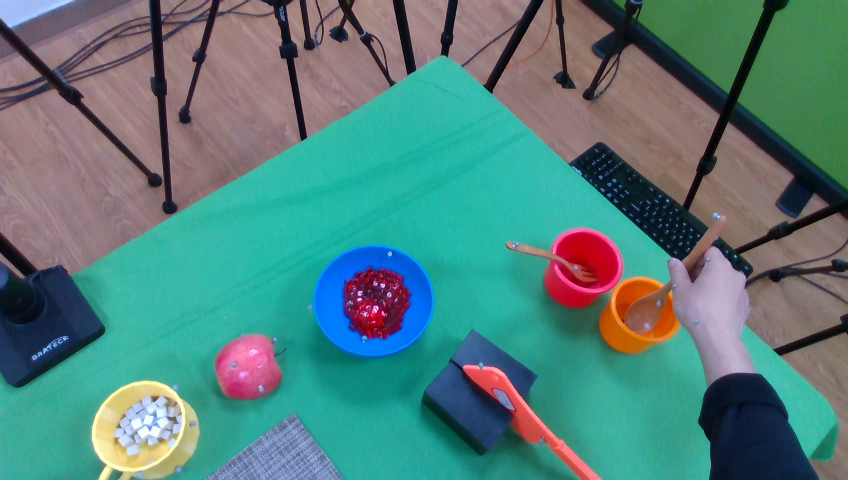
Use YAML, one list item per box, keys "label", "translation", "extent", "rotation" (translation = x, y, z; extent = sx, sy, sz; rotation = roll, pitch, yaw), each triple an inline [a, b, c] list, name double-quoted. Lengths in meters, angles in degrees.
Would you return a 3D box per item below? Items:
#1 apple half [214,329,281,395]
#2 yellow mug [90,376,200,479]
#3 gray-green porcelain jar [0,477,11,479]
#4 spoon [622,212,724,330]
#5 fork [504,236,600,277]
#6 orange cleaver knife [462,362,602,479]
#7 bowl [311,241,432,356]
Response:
- label: "apple half"
  translation: [-0.220, 0.147, 0.746]
  extent: [0.075, 0.054, 0.080]
  rotation: [-15, 65, -10]
- label: "yellow mug"
  translation: [-0.323, 0.225, 0.686]
  extent: [0.100, 0.064, 0.130]
  rotation: [25, 63, 8]
- label: "gray-green porcelain jar"
  translation: [-0.449, 0.291, 0.605]
  extent: [0.106, 0.127, 0.105]
  rotation: [3, 62, -4]
- label: "spoon"
  translation: [0.303, 0.042, 0.737]
  extent: [0.041, 0.195, 0.021]
  rotation: [30, 40, 5]
- label: "fork"
  translation: [0.172, 0.022, 0.797]
  extent: [0.209, 0.018, 0.028]
  rotation: [19, 50, -44]
- label: "orange cleaver knife"
  translation: [0.127, 0.219, 0.728]
  extent: [0.212, 0.077, 0.012]
  rotation: [47, 57, -6]
- label: "bowl"
  translation: [-0.067, 0.085, 0.780]
  extent: [0.151, 0.077, 0.150]
  rotation: [3, 63, -5]
